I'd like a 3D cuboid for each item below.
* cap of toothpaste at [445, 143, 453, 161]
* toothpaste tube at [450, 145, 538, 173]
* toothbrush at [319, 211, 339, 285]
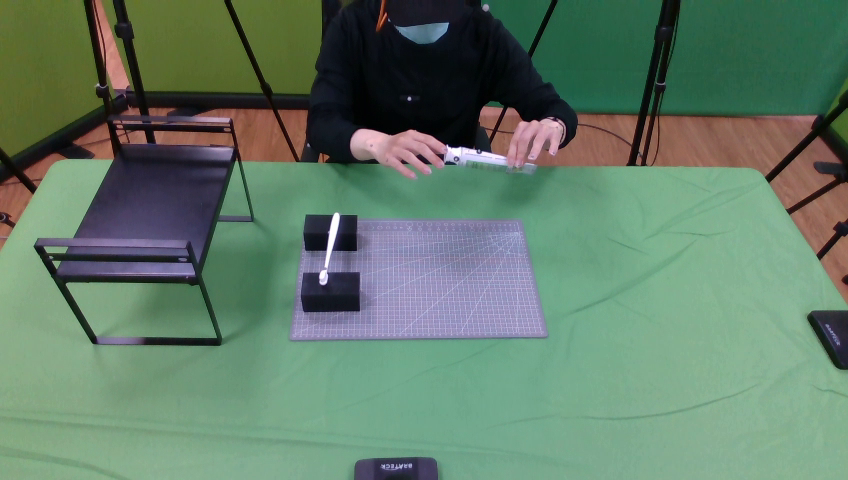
[{"bbox_3d":[0.047,-0.162,1.119,0.011,0.037,0.037,10,47,1],"label":"cap of toothpaste"},{"bbox_3d":[0.124,-0.148,1.115,0.165,0.055,0.034,10,83,0],"label":"toothpaste tube"},{"bbox_3d":[-0.172,0.009,1.103,0.014,0.017,0.180,-5,44,8],"label":"toothbrush"}]
